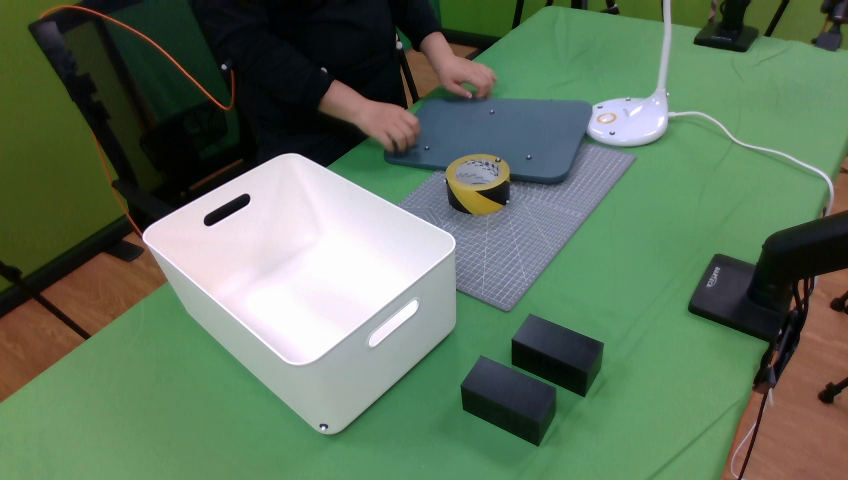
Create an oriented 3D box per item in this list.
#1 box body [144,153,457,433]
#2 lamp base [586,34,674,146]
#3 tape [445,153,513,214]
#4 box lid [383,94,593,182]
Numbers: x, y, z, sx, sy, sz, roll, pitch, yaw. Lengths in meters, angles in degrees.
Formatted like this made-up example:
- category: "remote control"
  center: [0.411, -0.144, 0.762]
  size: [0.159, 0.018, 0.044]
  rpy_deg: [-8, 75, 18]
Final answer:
- category: "box body"
  center: [-0.158, 0.054, 0.819]
  size: [0.361, 0.161, 0.255]
  rpy_deg: [29, 52, 34]
- category: "lamp base"
  center: [0.392, -0.291, 1.129]
  size: [0.180, 0.181, 0.159]
  rpy_deg: [-11, 41, -8]
- category: "tape"
  center: [0.095, -0.098, 1.042]
  size: [0.117, 0.053, 0.116]
  rpy_deg: [-4, 41, 4]
- category: "box lid"
  center: [0.129, -0.210, 1.191]
  size: [0.369, 0.015, 0.263]
  rpy_deg: [9, 45, 22]
